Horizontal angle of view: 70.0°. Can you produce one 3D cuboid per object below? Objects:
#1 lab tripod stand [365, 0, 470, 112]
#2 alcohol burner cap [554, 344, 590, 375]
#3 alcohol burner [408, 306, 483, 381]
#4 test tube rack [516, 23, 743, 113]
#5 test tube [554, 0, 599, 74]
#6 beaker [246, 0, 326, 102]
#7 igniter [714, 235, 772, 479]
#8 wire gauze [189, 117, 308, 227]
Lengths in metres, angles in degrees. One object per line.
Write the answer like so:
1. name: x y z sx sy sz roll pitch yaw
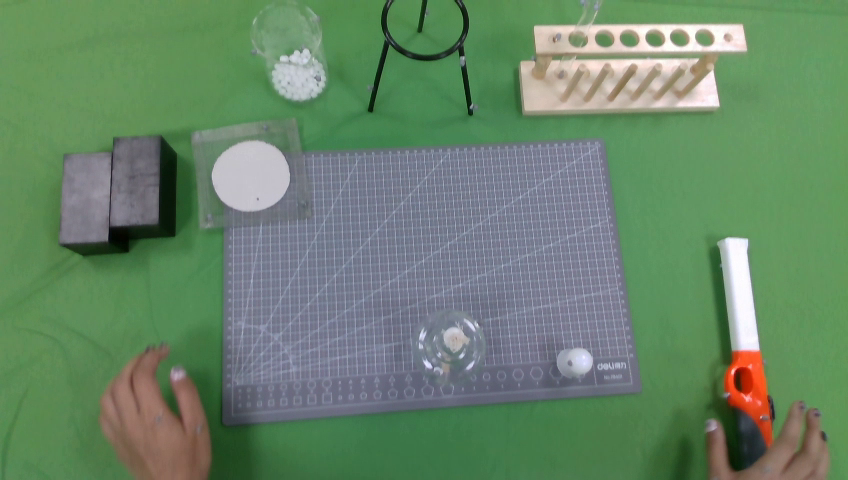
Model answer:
1. lab tripod stand: -0.006 -0.211 0.678 0.148 0.132 0.147 1 75 -1
2. alcohol burner cap: 0.161 0.128 0.651 0.034 0.048 0.033 1 75 -2
3. alcohol burner: 0.024 0.102 0.612 0.078 0.119 0.077 1 74 -4
4. test tube rack: 0.238 -0.201 0.716 0.242 0.085 0.066 -2 76 -4
5. test tube: 0.168 -0.230 0.667 0.017 0.151 0.017 1 72 -3
6. beaker: -0.149 -0.206 0.684 0.074 0.100 0.083 -34 81 -10
7. igniter: 0.354 0.129 0.674 0.057 0.025 0.275 4 76 -14
8. wire gauze: -0.202 -0.079 0.694 0.125 0.011 0.121 -9 76 -5
